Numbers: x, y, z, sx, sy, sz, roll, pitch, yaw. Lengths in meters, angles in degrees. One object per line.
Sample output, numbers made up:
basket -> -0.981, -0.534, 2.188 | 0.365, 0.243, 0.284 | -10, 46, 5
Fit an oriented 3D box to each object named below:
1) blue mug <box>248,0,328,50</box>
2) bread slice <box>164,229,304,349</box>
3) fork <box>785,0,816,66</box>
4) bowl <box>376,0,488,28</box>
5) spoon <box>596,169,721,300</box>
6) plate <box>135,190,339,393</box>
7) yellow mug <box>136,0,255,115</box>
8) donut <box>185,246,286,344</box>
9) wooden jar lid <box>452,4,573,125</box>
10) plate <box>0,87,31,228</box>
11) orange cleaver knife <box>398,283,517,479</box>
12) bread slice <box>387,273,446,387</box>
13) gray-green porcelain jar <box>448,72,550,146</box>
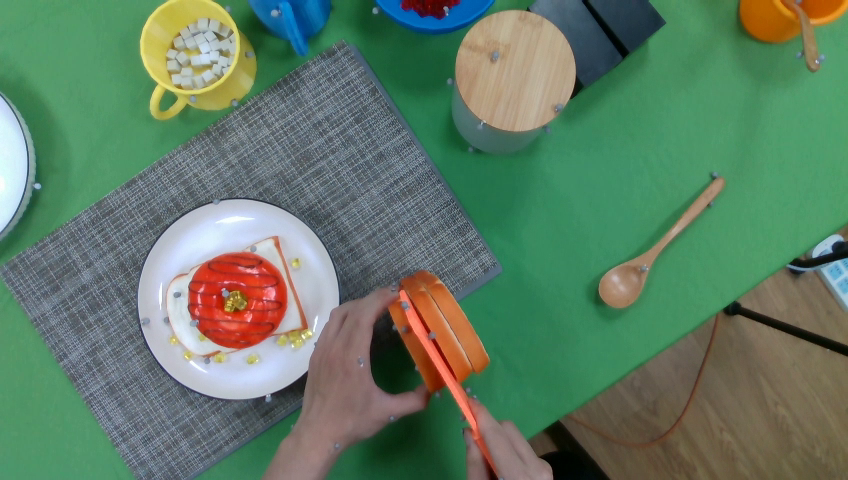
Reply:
blue mug -> -0.142, -0.252, 0.613 | 0.082, 0.106, 0.116 | -14, 89, -1
bread slice -> -0.204, 0.059, 0.639 | 0.131, 0.019, 0.105 | -21, 89, -5
fork -> 0.369, -0.228, 0.603 | 0.028, 0.019, 0.206 | 28, 44, -7
bowl -> 0.007, -0.286, 0.631 | 0.151, 0.077, 0.151 | 0, 89, -1
spoon -> 0.260, -0.008, 0.660 | 0.193, 0.022, 0.041 | -45, 72, -2
plate -> -0.191, 0.053, 0.636 | 0.209, 0.038, 0.209 | 0, 89, -1
yellow mug -> -0.244, -0.185, 0.628 | 0.100, 0.064, 0.131 | 34, 89, 0
donut -> -0.188, 0.055, 0.608 | 0.099, 0.048, 0.099 | 0, 89, -5
wooden jar lid -> 0.078, -0.156, 0.544 | 0.108, 0.020, 0.108 | 0, 90, -5
plate -> -0.513, -0.085, 0.634 | 0.208, 0.039, 0.207 | 0, 89, -1
orange cleaver knife -> 0.031, 0.133, 0.545 | 0.012, 0.077, 0.212 | -29, 101, 1
bread slice -> -0.006, 0.086, 0.598 | 0.018, 0.134, 0.107 | -25, 89, 4
gray-green porcelain jar -> 0.078, -0.153, 0.606 | 0.106, 0.126, 0.105 | 0, 88, -1
